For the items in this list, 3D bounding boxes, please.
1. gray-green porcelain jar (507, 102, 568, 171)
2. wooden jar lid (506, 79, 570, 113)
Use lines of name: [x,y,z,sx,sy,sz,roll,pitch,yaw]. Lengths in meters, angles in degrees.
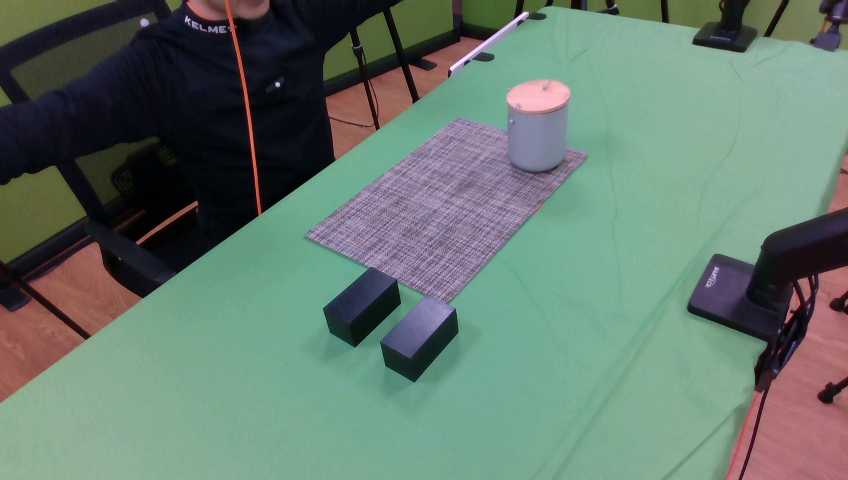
gray-green porcelain jar: [0.202,-0.196,1.081,0.106,0.127,0.105,-4,41,4]
wooden jar lid: [0.197,-0.243,1.041,0.108,0.021,0.108,-7,41,7]
